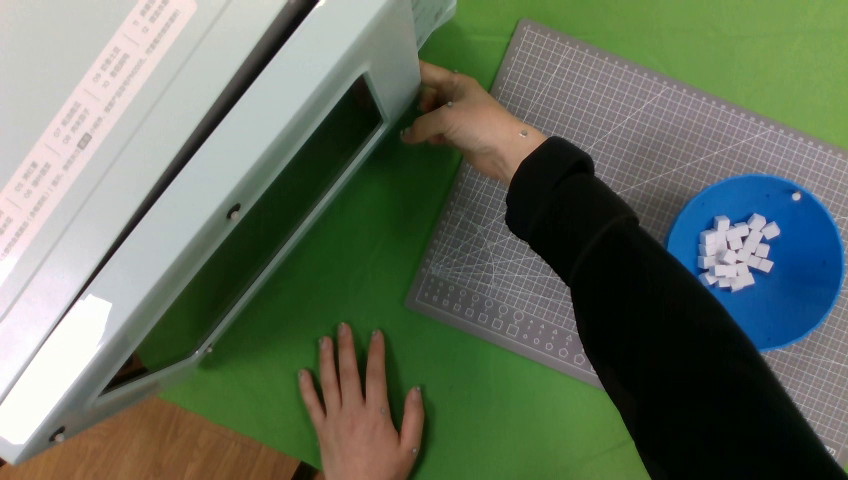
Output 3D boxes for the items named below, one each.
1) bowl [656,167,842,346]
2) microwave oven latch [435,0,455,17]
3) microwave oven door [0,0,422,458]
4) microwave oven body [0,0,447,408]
[{"bbox_3d":[0.274,0.014,0.543,0.151,0.077,0.151,0,91,2],"label":"bowl"},{"bbox_3d":[-0.005,-0.209,0.548,0.079,0.029,0.030,-37,91,2],"label":"microwave oven latch"},{"bbox_3d":[-0.130,-0.020,0.452,0.039,0.244,0.356,39,91,1],"label":"microwave oven door"},{"bbox_3d":[-0.229,-0.146,0.456,0.326,0.260,0.441,36,92,0],"label":"microwave oven body"}]
